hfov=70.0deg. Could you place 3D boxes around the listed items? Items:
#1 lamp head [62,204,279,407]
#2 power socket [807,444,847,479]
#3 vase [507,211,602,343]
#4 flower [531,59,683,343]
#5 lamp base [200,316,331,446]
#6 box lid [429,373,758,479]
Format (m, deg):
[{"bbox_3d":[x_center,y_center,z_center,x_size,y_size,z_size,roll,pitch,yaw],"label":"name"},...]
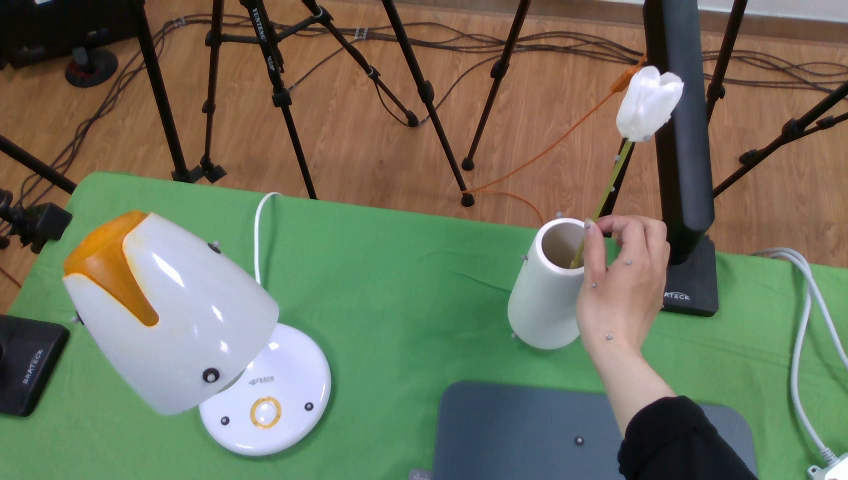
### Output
[{"bbox_3d":[-0.180,0.034,0.419,0.112,0.124,0.111,-29,23,14],"label":"lamp head"},{"bbox_3d":[0.514,0.318,0.638,0.072,0.033,0.224,-28,64,-13],"label":"power socket"},{"bbox_3d":[0.153,0.046,0.705,0.098,0.201,0.097,0,60,1],"label":"vase"},{"bbox_3d":[0.162,-0.009,0.612,0.044,0.364,0.038,0,44,-15],"label":"flower"},{"bbox_3d":[-0.203,0.125,0.685,0.161,0.182,0.177,-20,60,-8],"label":"lamp base"},{"bbox_3d":[0.190,0.290,0.676,0.371,0.015,0.261,4,62,5],"label":"box lid"}]
